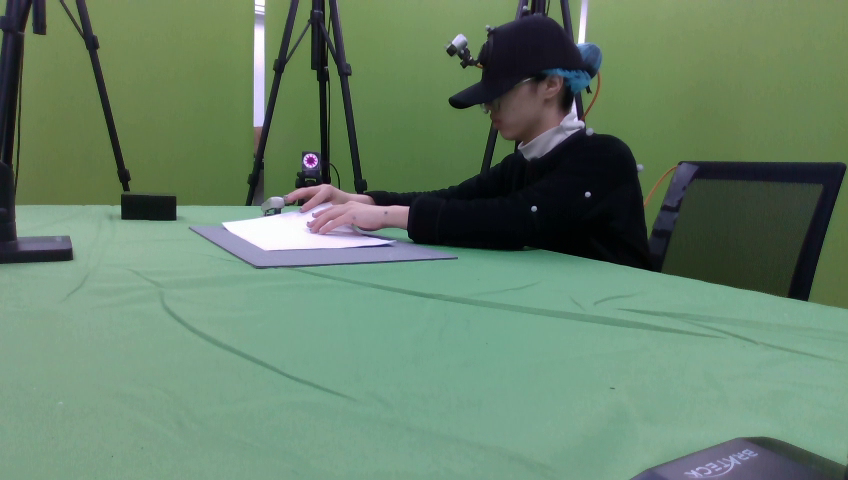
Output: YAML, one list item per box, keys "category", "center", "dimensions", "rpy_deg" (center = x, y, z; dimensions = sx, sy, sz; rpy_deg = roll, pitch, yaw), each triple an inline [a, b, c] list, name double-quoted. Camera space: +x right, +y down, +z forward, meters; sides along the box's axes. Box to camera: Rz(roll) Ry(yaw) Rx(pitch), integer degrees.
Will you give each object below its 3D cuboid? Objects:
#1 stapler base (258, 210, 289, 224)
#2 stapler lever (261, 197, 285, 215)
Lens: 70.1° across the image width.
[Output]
- category: "stapler base"
  center: [-0.323, -0.051, 1.295]
  dimensions: [0.041, 0.024, 0.130]
  rpy_deg: [2, 5, -27]
- category: "stapler lever"
  center: [-0.323, -0.075, 1.293]
  dimensions: [0.027, 0.040, 0.117]
  rpy_deg: [2, 6, -27]
